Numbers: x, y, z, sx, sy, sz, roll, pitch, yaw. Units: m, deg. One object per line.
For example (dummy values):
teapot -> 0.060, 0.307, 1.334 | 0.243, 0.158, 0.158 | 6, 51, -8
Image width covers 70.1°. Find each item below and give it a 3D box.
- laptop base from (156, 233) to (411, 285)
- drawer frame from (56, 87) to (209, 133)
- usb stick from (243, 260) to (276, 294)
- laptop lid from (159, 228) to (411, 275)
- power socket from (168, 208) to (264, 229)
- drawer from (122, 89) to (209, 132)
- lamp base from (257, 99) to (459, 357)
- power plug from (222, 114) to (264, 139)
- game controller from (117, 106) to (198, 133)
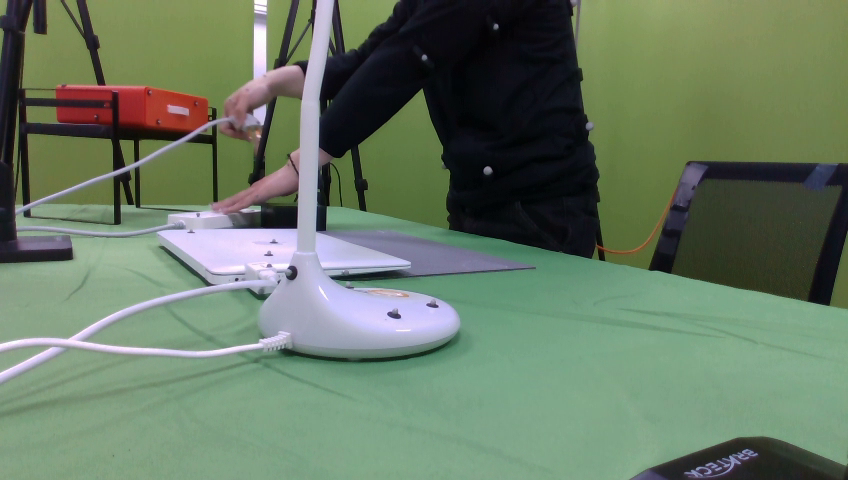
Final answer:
laptop base -> -0.204, 0.019, 0.807 | 0.237, 0.023, 0.352 | 0, 7, -33
drawer frame -> -0.598, -0.269, 1.261 | 0.213, 0.082, 0.202 | 4, 8, 14
usb stick -> -0.166, 0.035, 0.603 | 0.021, 0.027, 0.059 | -8, 8, -29
laptop lid -> -0.201, 0.007, 0.806 | 0.243, 0.013, 0.355 | -1, 8, -31
power socket -> -0.381, -0.038, 1.128 | 0.072, 0.032, 0.227 | 4, 8, 16
drawer -> -0.595, -0.268, 1.263 | 0.211, 0.073, 0.195 | 4, 8, 15
lamp base -> -0.055, -0.014, 0.463 | 0.160, 0.180, 0.180 | 6, 11, 27
power plug -> -0.348, -0.218, 1.180 | 0.072, 0.052, 0.035 | -15, 1, 5
game controller -> -0.555, -0.251, 1.255 | 0.097, 0.051, 0.155 | 8, 12, 18
